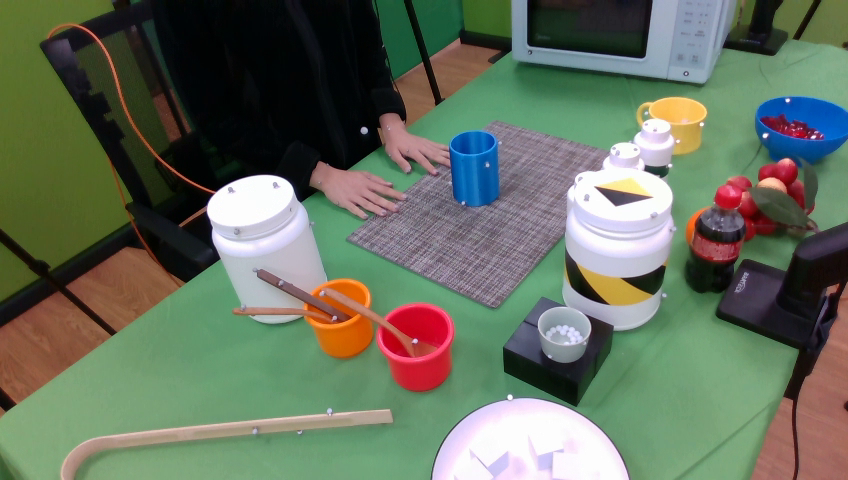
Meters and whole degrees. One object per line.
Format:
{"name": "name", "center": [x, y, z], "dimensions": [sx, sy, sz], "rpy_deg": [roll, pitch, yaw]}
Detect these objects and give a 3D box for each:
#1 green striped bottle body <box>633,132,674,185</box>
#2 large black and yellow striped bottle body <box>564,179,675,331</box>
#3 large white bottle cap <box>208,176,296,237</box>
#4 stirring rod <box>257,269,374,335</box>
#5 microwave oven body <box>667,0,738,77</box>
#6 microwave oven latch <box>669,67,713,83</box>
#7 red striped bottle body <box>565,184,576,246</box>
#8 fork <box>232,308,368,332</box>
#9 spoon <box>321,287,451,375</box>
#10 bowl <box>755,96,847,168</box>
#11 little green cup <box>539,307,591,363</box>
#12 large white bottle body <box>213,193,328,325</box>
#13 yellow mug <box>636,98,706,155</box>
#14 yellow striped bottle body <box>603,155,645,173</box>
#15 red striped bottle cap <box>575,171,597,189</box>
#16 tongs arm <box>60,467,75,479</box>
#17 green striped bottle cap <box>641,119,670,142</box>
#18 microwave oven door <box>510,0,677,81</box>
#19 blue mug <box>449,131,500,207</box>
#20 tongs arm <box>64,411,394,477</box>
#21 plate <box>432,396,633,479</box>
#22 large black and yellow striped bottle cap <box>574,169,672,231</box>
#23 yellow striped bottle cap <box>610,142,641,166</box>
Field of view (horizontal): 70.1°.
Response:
{"name": "green striped bottle body", "center": [0.376, -0.135, 1.001], "dimensions": [0.063, 0.120, 0.063], "rpy_deg": [-5, 40, 5]}
{"name": "large black and yellow striped bottle body", "center": [0.253, 0.014, 0.793], "dimensions": [0.131, 0.185, 0.130], "rpy_deg": [-5, 40, 4]}
{"name": "large white bottle cap", "center": [-0.229, -0.048, 0.809], "dimensions": [0.115, 0.018, 0.114], "rpy_deg": [-4, 41, 4]}
{"name": "stirring rod", "center": [-0.143, 0.084, 0.808], "dimensions": [0.177, 0.006, 0.014], "rpy_deg": [30, 43, -19]}
{"name": "microwave oven body", "center": [0.462, -0.552, 1.369], "dimensions": [0.439, 0.261, 0.326], "rpy_deg": [15, 45, 26]}
{"name": "microwave oven latch", "center": [0.556, -0.348, 1.262], "dimensions": [0.078, 0.029, 0.030], "rpy_deg": [15, 46, 26]}
{"name": "red striped bottle body", "center": [0.247, -0.041, 0.910], "dimensions": [0.063, 0.120, 0.062], "rpy_deg": [-3, 39, 3]}
{"name": "fork", "center": [-0.152, 0.101, 0.781], "dimensions": [0.209, 0.018, 0.028], "rpy_deg": [18, 19, -46]}
{"name": "spoon", "center": [-0.046, 0.111, 0.757], "dimensions": [0.194, 0.021, 0.041], "rpy_deg": [38, 47, -15]}
{"name": "bowl", "center": [0.645, -0.177, 1.041], "dimensions": [0.151, 0.077, 0.150], "rpy_deg": [-5, 40, 4]}
{"name": "little green cup", "center": [0.167, 0.114, 0.721], "dimensions": [0.061, 0.039, 0.061], "rpy_deg": [-4, 43, 4]}
{"name": "large white bottle body", "center": [-0.220, 0.016, 0.864], "dimensions": [0.130, 0.185, 0.130], "rpy_deg": [-5, 40, 4]}
{"name": "yellow mug", "center": [0.453, -0.217, 1.128], "dimensions": [0.100, 0.064, 0.129], "rpy_deg": [-34, 46, -27]}
{"name": "yellow striped bottle body", "center": [0.314, -0.091, 0.957], "dimensions": [0.063, 0.121, 0.062], "rpy_deg": [-4, 40, 4]}
{"name": "red striped bottle cap", "center": [0.242, -0.081, 0.876], "dimensions": [0.044, 0.018, 0.044], "rpy_deg": [-5, 44, 5]}
{"name": "tongs arm", "center": [-0.239, 0.301, 0.648], "dimensions": [0.386, 0.028, 0.028], "rpy_deg": [6, 49, 16]}
{"name": "green striped bottle cap", "center": [0.371, -0.175, 0.968], "dimensions": [0.044, 0.020, 0.044], "rpy_deg": [-4, 42, 4]}
{"name": "microwave oven door", "center": [0.354, -0.478, 1.290], "dimensions": [0.353, 0.245, 0.039], "rpy_deg": [15, 45, 25]}
{"name": "blue mug", "center": [0.089, -0.132, 1.049], "dimensions": [0.082, 0.106, 0.116], "rpy_deg": [0, 40, 9]}
{"name": "tongs arm", "center": [-0.228, 0.241, 0.715], "dimensions": [0.385, 0.026, 0.050], "rpy_deg": [-5, 43, 4]}
{"name": "plate", "center": [0.112, 0.261, 0.635], "dimensions": [0.209, 0.038, 0.208], "rpy_deg": [-5, 40, 4]}
{"name": "large black and yellow striped bottle cap", "center": [0.242, -0.051, 0.738], "dimensions": [0.115, 0.019, 0.114], "rpy_deg": [-4, 37, 3]}
{"name": "yellow striped bottle cap", "center": [0.308, -0.131, 0.925], "dimensions": [0.044, 0.019, 0.044], "rpy_deg": [-4, 45, 4]}
